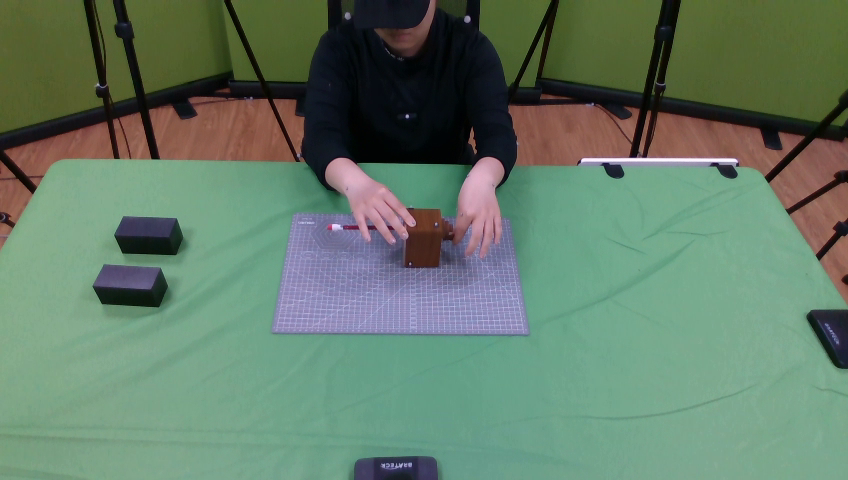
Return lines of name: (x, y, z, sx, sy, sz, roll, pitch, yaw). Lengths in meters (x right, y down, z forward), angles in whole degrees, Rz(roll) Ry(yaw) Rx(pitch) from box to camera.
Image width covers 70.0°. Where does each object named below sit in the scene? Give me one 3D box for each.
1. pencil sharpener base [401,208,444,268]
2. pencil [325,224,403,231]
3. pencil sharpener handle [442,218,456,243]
pencil sharpener base: (-0.004, -0.002, 1.136, 0.077, 0.107, 0.061, 0, 46, -5)
pencil: (-0.083, -0.022, 1.110, 0.194, 0.012, 0.012, 0, 46, -6)
pencil sharpener handle: (0.048, -0.014, 1.135, 0.031, 0.068, 0.036, 0, 60, -5)
